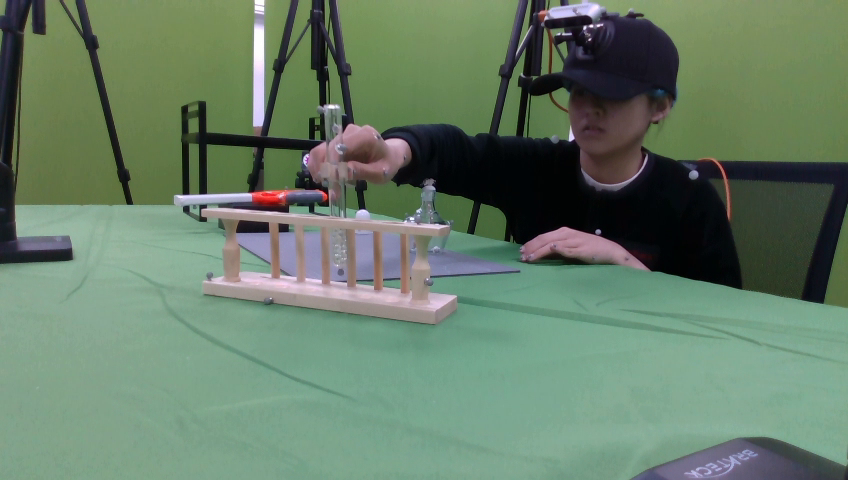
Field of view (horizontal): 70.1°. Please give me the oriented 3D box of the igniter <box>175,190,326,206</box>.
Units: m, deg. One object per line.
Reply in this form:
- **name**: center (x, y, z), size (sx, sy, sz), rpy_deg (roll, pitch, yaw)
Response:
- **igniter**: center (-0.315, -0.079, 1.128), size (0.278, 0.025, 0.057), rpy_deg (-5, 13, -34)

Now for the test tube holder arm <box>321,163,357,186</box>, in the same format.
- **test tube holder arm**: center (-0.084, -0.066, 0.618), size (0.013, 0.015, 0.178), rpy_deg (-1, 3, 0)

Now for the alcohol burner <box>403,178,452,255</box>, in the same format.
- **alcohol burner**: center (0.005, -0.036, 0.923), size (0.078, 0.119, 0.078), rpy_deg (5, 7, 0)

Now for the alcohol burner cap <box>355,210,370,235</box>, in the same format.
- **alcohol burner cap**: center (-0.117, -0.033, 1.136), size (0.034, 0.048, 0.034), rpy_deg (2, 7, 0)

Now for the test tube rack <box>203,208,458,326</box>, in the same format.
- **test tube rack**: center (-0.090, 0.019, 0.579), size (0.241, 0.085, 0.067), rpy_deg (5, 7, 19)

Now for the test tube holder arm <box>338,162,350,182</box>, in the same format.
- **test tube holder arm**: center (-0.076, -0.064, 0.573), size (0.010, 0.015, 0.087), rpy_deg (-2, 3, -8)

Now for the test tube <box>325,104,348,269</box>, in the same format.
- **test tube**: center (-0.079, -0.047, 0.551), size (0.017, 0.150, 0.017), rpy_deg (-1, 8, 0)
